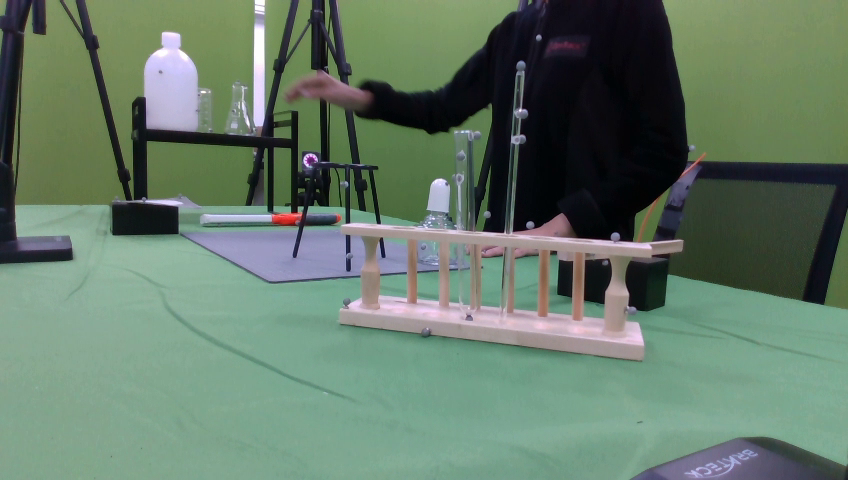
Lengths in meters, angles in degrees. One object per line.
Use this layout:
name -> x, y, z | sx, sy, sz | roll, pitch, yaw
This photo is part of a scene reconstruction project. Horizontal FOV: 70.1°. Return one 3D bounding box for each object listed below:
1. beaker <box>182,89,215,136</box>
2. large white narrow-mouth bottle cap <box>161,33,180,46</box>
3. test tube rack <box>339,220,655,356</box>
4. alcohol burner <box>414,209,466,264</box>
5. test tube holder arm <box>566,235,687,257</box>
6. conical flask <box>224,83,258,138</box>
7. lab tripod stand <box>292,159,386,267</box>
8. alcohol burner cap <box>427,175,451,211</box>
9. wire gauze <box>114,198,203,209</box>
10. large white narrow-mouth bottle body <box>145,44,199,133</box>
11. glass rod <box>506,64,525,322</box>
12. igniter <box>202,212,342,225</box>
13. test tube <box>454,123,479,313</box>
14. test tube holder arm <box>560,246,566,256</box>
beaker -> -0.511, -0.285, 1.353 | 0.084, 0.100, 0.073 | -2, 8, -25
large white narrow-mouth bottle cap -> -0.511, -0.402, 1.220 | 0.038, 0.024, 0.037 | 2, 7, 0
test tube rack -> 0.056, 0.032, 0.495 | 0.242, 0.085, 0.067 | 4, 7, 15
alcohol burner -> 0.021, -0.028, 0.826 | 0.078, 0.119, 0.078 | 0, 6, 0
test tube holder arm -> 0.215, 0.006, 0.630 | 0.179, 0.015, 0.013 | -3, 10, -31
conical flask -> -0.422, -0.299, 1.395 | 0.075, 0.122, 0.075 | 2, 7, 0
lab tripod stand -> -0.105, -0.039, 0.798 | 0.148, 0.131, 0.148 | 2, 5, 0
alcohol burner cap -> 0.023, -0.064, 0.822 | 0.034, 0.048, 0.034 | 7, 5, 0
wire gauze -> -0.447, -0.062, 1.015 | 0.126, 0.011, 0.121 | -1, 8, -31
large white narrow-mouth bottle body -> -0.513, -0.318, 1.231 | 0.102, 0.194, 0.102 | 2, 7, 0
glass rod -> 0.069, -0.030, 0.458 | 0.008, 0.199, 0.008 | 0, 15, 0
igniter -> -0.298, -0.044, 1.216 | 0.278, 0.025, 0.057 | -2, -2, -32
test tube -> 0.034, -0.016, 0.477 | 0.017, 0.150, 0.017 | -2, 9, 1
test tube holder arm -> 0.173, 0.007, 0.612 | 0.088, 0.015, 0.010 | -3, 10, -30
